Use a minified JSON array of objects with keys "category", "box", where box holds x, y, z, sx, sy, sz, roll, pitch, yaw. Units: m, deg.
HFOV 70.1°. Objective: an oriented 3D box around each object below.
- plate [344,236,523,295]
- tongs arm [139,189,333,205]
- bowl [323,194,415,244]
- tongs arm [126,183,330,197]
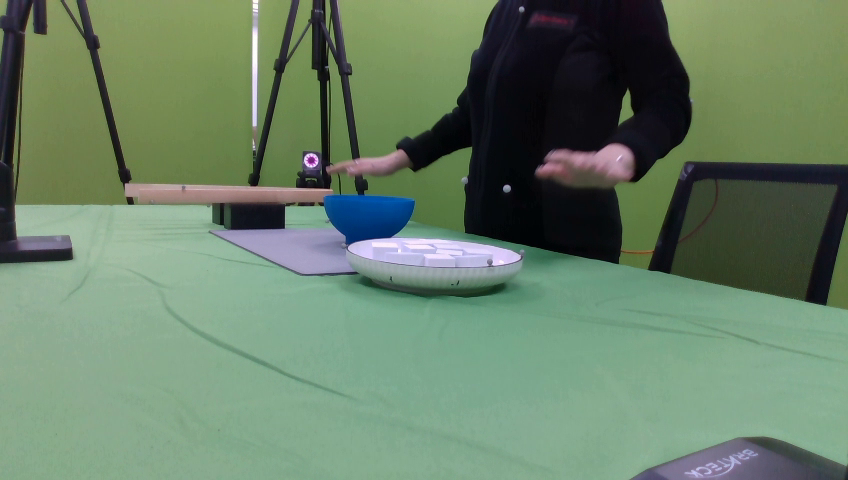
[{"category":"plate","box":[0.010,0.030,0.707,0.208,0.039,0.207,3,8,0]},{"category":"tongs arm","box":[-0.336,-0.084,1.146,0.387,0.026,0.050,-3,9,-38]},{"category":"bowl","box":[-0.091,-0.032,0.986,0.151,0.077,0.151,2,7,0]},{"category":"tongs arm","box":[-0.380,-0.096,1.211,0.389,0.028,0.028,-1,4,-25]}]
